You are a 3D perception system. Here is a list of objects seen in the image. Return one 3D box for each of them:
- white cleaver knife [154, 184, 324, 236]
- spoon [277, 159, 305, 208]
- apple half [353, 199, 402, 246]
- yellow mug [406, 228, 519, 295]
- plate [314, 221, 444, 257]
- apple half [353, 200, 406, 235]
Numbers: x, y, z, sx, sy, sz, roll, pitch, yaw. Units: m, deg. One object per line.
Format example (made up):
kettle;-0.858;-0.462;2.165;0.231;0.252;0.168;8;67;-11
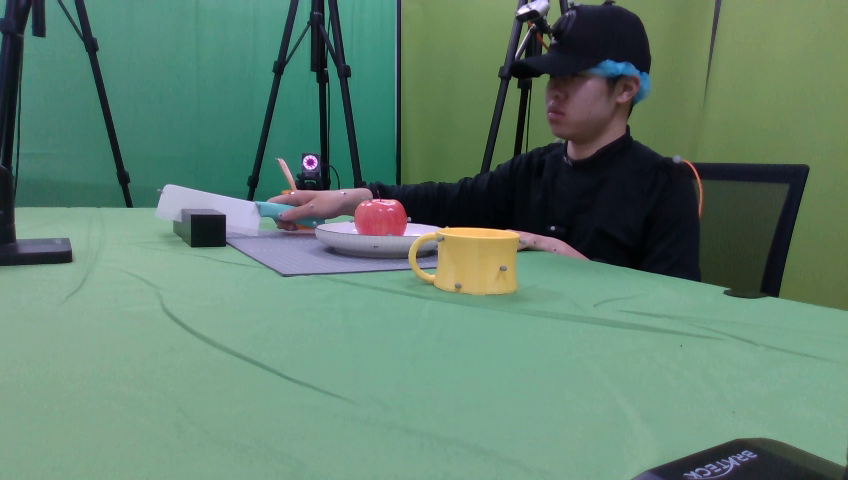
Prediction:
white cleaver knife;-0.310;-0.042;1.049;0.288;0.066;0.021;10;6;-28
spoon;-0.272;-0.103;1.260;0.042;0.193;0.021;-5;-34;-33
apple half;-0.076;-0.029;0.946;0.081;0.081;0.032;0;13;-18
yellow mug;0.044;0.022;0.707;0.131;0.064;0.100;2;7;5
plate;-0.067;-0.002;0.948;0.209;0.038;0.209;3;7;0
apple half;-0.064;-0.023;0.909;0.081;0.074;0.053;4;11;-17
